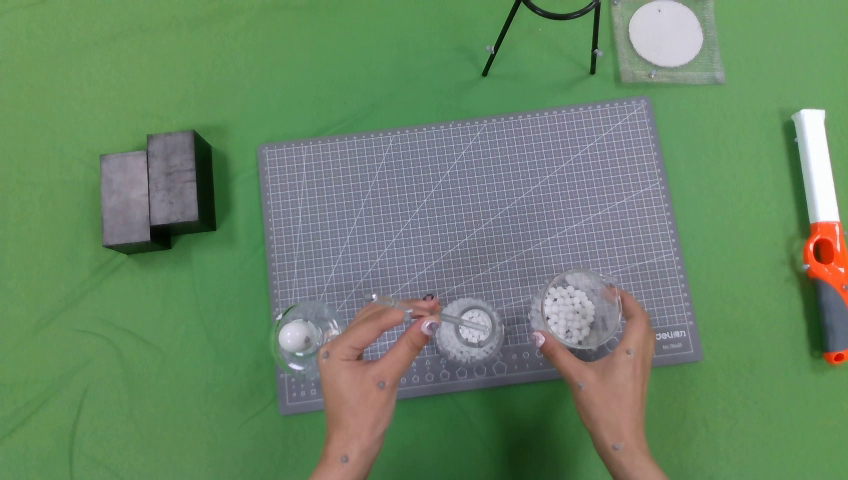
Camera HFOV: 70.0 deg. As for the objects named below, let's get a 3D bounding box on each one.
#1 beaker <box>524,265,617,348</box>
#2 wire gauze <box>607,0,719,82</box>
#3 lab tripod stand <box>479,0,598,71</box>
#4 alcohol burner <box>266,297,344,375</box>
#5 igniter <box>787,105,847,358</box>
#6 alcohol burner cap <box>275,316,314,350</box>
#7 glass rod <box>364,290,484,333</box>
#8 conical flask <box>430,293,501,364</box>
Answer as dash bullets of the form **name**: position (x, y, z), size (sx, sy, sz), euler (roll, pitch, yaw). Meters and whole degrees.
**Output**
- **beaker**: position (0.143, 0.066, 0.604), size (0.084, 0.100, 0.074), euler (-40, 82, -7)
- **wire gauze**: position (0.278, -0.242, 0.706), size (0.125, 0.011, 0.121), euler (-1, 81, -2)
- **lab tripod stand**: position (0.126, -0.242, 0.643), size (0.148, 0.132, 0.148), euler (0, 82, 1)
- **alcohol burner**: position (-0.120, 0.093, 0.594), size (0.078, 0.119, 0.077), euler (0, 79, 3)
- **igniter**: position (0.428, -0.012, 0.654), size (0.057, 0.025, 0.275), euler (0, 80, -10)
- **alcohol burner cap**: position (-0.121, 0.086, 0.559), size (0.034, 0.048, 0.034), euler (0, 83, -3)
- **glass rod**: position (0.008, 0.058, 0.470), size (0.008, 0.201, 0.008), euler (-7, 73, 25)
- **conical flask**: position (0.043, 0.084, 0.590), size (0.075, 0.122, 0.075), euler (0, 79, 1)
